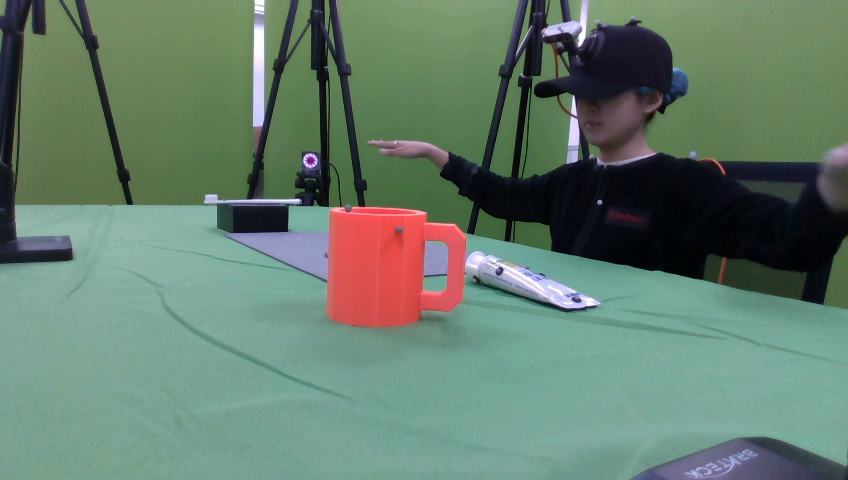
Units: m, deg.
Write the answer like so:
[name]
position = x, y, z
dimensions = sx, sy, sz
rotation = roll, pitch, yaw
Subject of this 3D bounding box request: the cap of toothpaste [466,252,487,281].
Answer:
[cap of toothpaste]
position = 0.065, 0.033, 0.720
dimensions = 0.037, 0.037, 0.011
rotation = -3, 13, -39

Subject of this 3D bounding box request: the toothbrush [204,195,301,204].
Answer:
[toothbrush]
position = -0.314, -0.074, 1.120
dimensions = 0.183, 0.016, 0.014
rotation = -2, 4, -36

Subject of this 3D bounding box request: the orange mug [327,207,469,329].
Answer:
[orange mug]
position = -0.024, 0.021, 0.535
dimensions = 0.126, 0.100, 0.083
rotation = -1, 6, 8

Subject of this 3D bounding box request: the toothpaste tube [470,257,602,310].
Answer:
[toothpaste tube]
position = 0.110, 0.049, 0.659
dimensions = 0.055, 0.034, 0.164
rotation = -8, 16, -37
